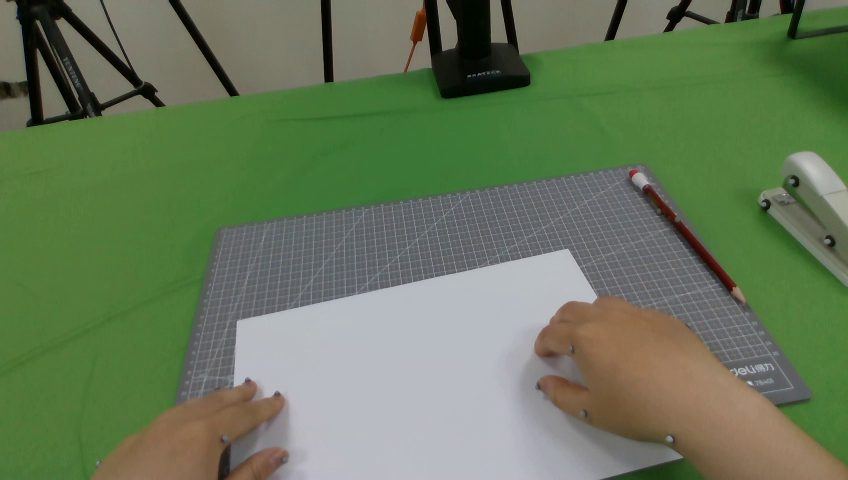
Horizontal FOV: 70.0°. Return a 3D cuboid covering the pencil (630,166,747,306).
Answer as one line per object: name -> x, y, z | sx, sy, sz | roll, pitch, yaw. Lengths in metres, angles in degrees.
pencil -> 0.232, -0.010, 0.543 | 0.012, 0.012, 0.192 | -12, 42, -5

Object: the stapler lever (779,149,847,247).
stapler lever -> 0.343, -0.033, 0.507 | 0.027, 0.040, 0.116 | -14, 43, -3

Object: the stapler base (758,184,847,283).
stapler base -> 0.345, -0.015, 0.525 | 0.041, 0.025, 0.129 | -14, 43, -4
